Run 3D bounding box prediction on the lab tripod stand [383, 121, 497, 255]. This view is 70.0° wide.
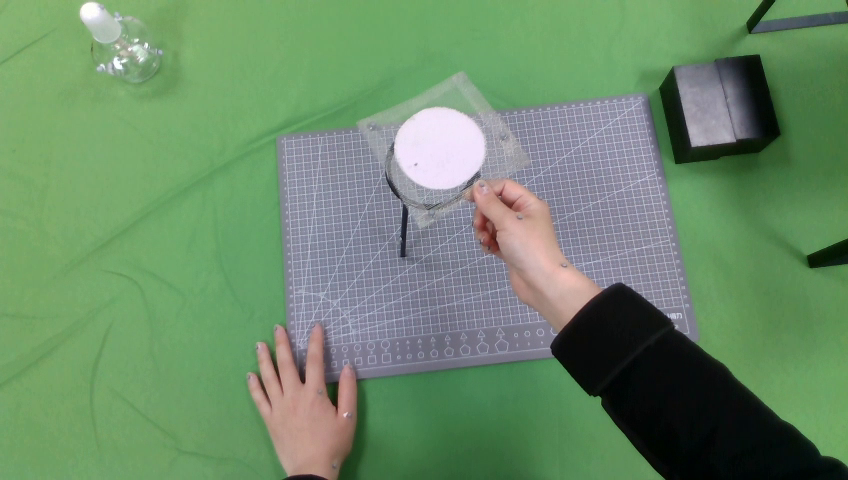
[{"bbox_3d":[0.005,-0.060,0.643,0.148,0.132,0.147,-1,76,4],"label":"lab tripod stand"}]

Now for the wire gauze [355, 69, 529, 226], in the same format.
[{"bbox_3d":[0.016,-0.091,0.563,0.121,0.011,0.124,-29,73,-10],"label":"wire gauze"}]

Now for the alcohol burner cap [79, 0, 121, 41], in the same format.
[{"bbox_3d":[-0.364,-0.248,0.674,0.034,0.048,0.033,1,77,-5],"label":"alcohol burner cap"}]

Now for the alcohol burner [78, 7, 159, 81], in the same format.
[{"bbox_3d":[-0.362,-0.238,0.709,0.078,0.119,0.077,0,77,1],"label":"alcohol burner"}]
